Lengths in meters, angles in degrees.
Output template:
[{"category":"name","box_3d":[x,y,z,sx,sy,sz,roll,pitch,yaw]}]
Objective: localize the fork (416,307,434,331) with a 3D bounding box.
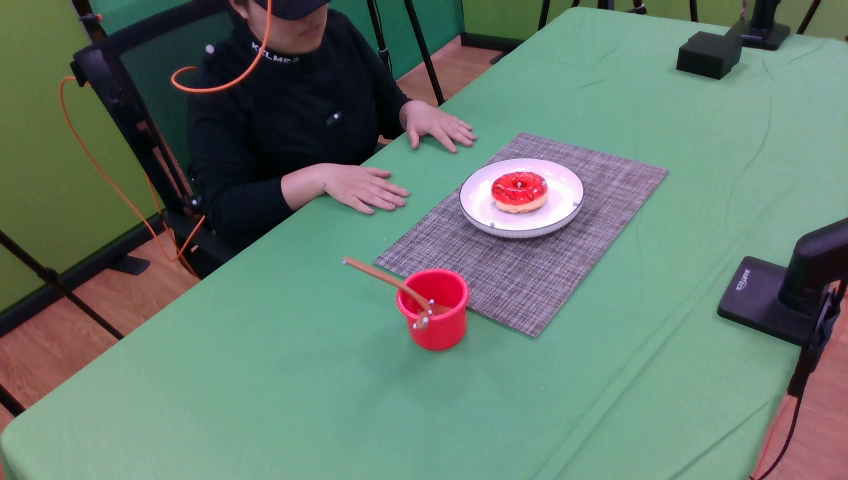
[{"category":"fork","box_3d":[0.001,0.098,0.761,0.028,0.207,0.018,26,87,3]}]

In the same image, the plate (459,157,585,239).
[{"category":"plate","box_3d":[0.163,-0.068,1.015,0.209,0.038,0.208,-5,40,5]}]

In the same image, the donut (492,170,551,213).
[{"category":"donut","box_3d":[0.163,-0.083,1.016,0.099,0.048,0.098,-6,37,5]}]

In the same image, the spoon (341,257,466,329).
[{"category":"spoon","box_3d":[-0.025,0.069,0.811,0.195,0.021,0.041,34,30,-18]}]
